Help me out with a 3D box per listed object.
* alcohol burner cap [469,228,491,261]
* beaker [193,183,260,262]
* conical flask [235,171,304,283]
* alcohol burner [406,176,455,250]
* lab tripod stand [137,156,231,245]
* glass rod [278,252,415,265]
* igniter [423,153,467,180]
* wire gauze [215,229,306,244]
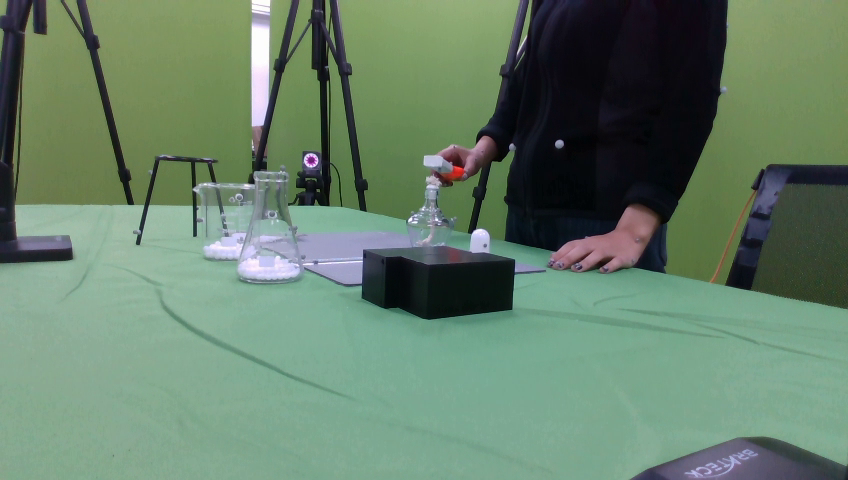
[{"bbox_3d":[0.082,0.006,0.878,0.034,0.048,0.034,3,7,0],"label":"alcohol burner cap"},{"bbox_3d":[-0.262,-0.025,0.806,0.084,0.100,0.073,-3,9,-30],"label":"beaker"},{"bbox_3d":[-0.172,-0.016,0.677,0.075,0.122,0.075,2,7,0],"label":"conical flask"},{"bbox_3d":[0.011,-0.044,0.963,0.078,0.119,0.078,4,6,0],"label":"alcohol burner"},{"bbox_3d":[-0.358,-0.061,0.927,0.148,0.131,0.148,4,6,0],"label":"lab tripod stand"},{"bbox_3d":[-0.097,0.024,0.805,0.201,0.008,0.008,-3,8,-33],"label":"glass rod"},{"bbox_3d":[0.042,-0.131,1.102,0.057,0.025,0.277,4,2,12],"label":"igniter"},{"bbox_3d":[-0.273,-0.009,1.013,0.122,0.011,0.124,-2,9,-33],"label":"wire gauze"}]
